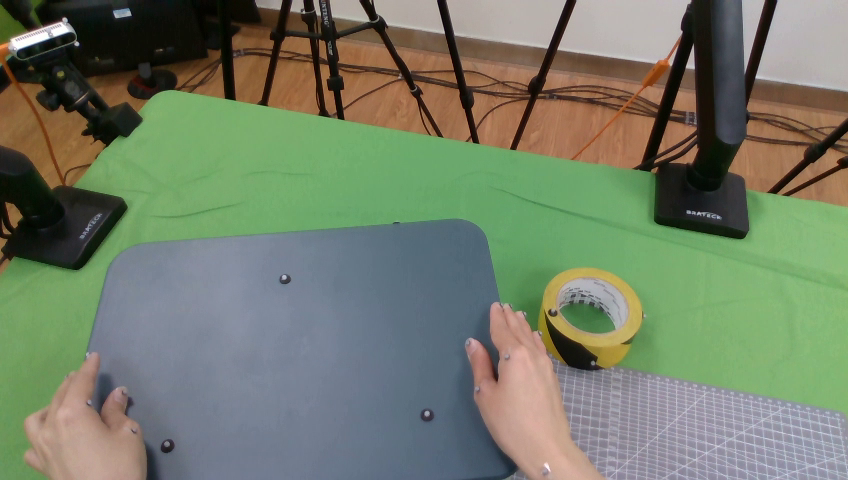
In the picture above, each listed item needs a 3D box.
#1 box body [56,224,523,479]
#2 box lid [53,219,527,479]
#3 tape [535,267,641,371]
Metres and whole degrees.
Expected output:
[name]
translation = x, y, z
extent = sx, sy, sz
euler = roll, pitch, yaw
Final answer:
[box body]
translation = -0.108, 0.142, 0.592
extent = 0.364, 0.162, 0.251
euler = -5, 51, -3
[box lid]
translation = -0.108, 0.096, 0.533
extent = 0.372, 0.015, 0.260
euler = -5, 52, -4
[tape]
translation = 0.188, 0.090, 0.705
extent = 0.117, 0.053, 0.115
euler = 1, 49, 0
